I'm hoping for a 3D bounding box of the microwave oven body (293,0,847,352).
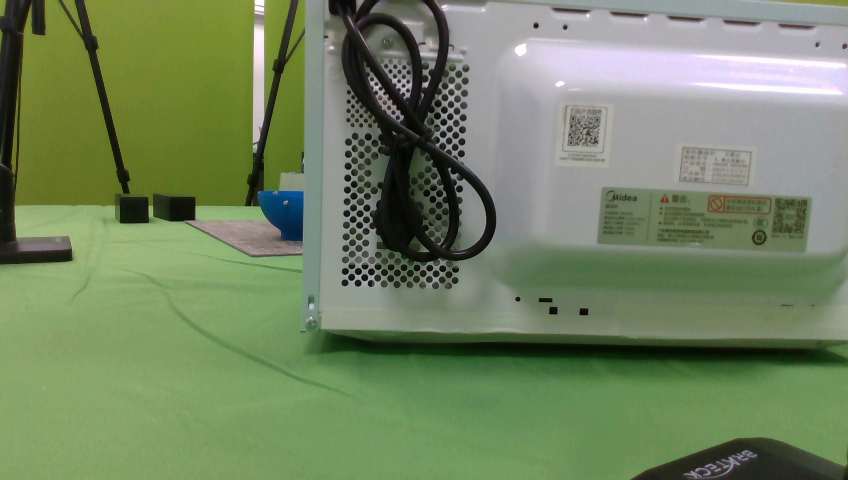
[{"bbox_3d":[0.122,-0.055,0.550,0.442,0.260,0.325,3,7,-5],"label":"microwave oven body"}]

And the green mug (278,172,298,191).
[{"bbox_3d":[-0.250,-0.089,1.279,0.092,0.105,0.126,9,9,40],"label":"green mug"}]

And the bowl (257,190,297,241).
[{"bbox_3d":[-0.206,-0.041,1.027,0.151,0.077,0.151,3,8,0],"label":"bowl"}]

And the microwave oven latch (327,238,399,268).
[{"bbox_3d":[-0.069,0.015,0.694,0.079,0.029,0.030,3,7,-3],"label":"microwave oven latch"}]

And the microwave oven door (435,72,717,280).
[{"bbox_3d":[0.180,-0.090,0.795,0.354,0.243,0.039,6,7,30],"label":"microwave oven door"}]
